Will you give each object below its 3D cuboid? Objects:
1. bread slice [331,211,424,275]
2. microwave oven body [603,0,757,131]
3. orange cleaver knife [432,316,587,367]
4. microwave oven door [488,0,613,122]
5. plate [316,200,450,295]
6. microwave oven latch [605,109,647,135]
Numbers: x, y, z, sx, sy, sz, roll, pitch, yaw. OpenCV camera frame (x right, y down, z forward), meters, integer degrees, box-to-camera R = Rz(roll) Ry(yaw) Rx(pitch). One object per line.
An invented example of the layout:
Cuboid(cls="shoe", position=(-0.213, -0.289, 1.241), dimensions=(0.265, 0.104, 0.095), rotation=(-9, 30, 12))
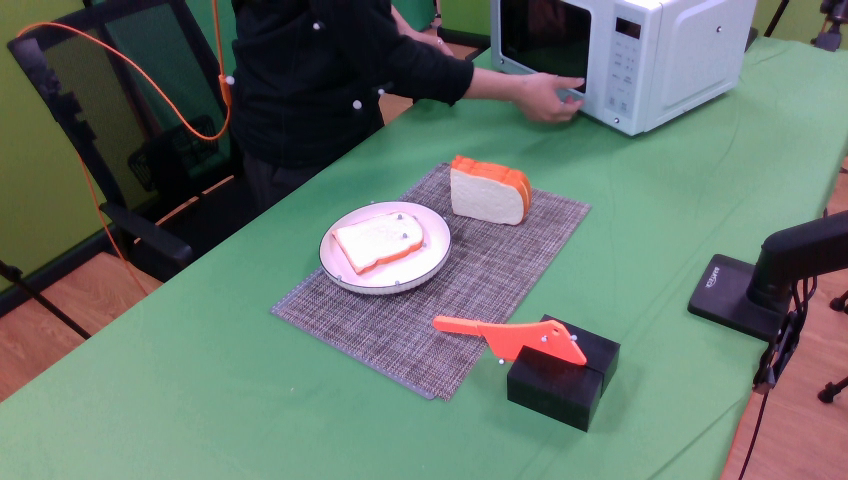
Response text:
Cuboid(cls="bread slice", position=(-0.069, -0.001, 0.960), dimensions=(0.135, 0.018, 0.106), rotation=(-23, 46, -21))
Cuboid(cls="microwave oven body", position=(0.396, -0.448, 1.248), dimensions=(0.327, 0.261, 0.437), rotation=(-27, 44, -21))
Cuboid(cls="orange cleaver knife", position=(0.101, 0.127, 0.761), dimensions=(0.210, 0.077, 0.012), rotation=(-1, 34, 40))
Cuboid(cls="microwave oven door", position=(0.250, -0.412, 1.219), dimensions=(0.039, 0.245, 0.352), rotation=(-27, 44, -21))
Cuboid(cls="plate", position=(-0.062, 0.015, 0.944), dimensions=(0.207, 0.039, 0.206), rotation=(-4, 41, 4))
Cuboid(cls="microwave oven latch", position=(0.378, -0.225, 1.139), dimensions=(0.030, 0.029, 0.078), rotation=(-26, 43, -19))
